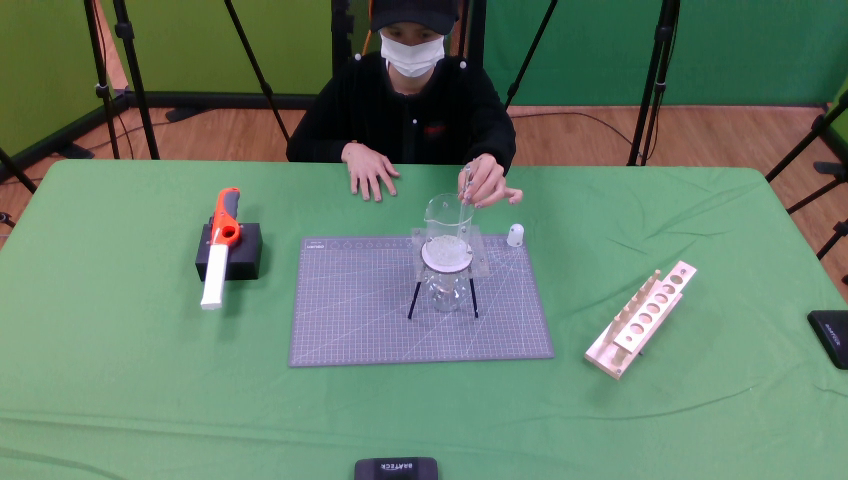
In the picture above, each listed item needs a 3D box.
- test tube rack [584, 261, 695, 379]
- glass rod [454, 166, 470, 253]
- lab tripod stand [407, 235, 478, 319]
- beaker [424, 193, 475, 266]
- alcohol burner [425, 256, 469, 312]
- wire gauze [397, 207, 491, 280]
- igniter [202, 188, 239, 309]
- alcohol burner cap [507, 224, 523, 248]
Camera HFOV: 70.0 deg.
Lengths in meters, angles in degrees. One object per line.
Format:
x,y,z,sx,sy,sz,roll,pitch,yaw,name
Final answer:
0.380,0.127,1.062,0.066,0.085,0.242,34,53,26,test tube rack
0.058,-0.041,0.928,0.008,0.200,0.008,2,52,-2,glass rod
0.032,0.065,1.057,0.148,0.132,0.147,1,45,-1,lab tripod stand
0.036,-0.013,0.974,0.084,0.101,0.073,-18,48,-20,beaker
0.041,0.072,1.065,0.078,0.120,0.077,1,46,-1,alcohol burner
0.032,0.006,1.001,0.125,0.011,0.120,-20,52,-16,wire gauze
-0.367,0.006,1.095,0.057,0.025,0.274,-2,50,-7,igniter
0.183,-0.010,1.206,0.034,0.048,0.033,0,45,0,alcohol burner cap
